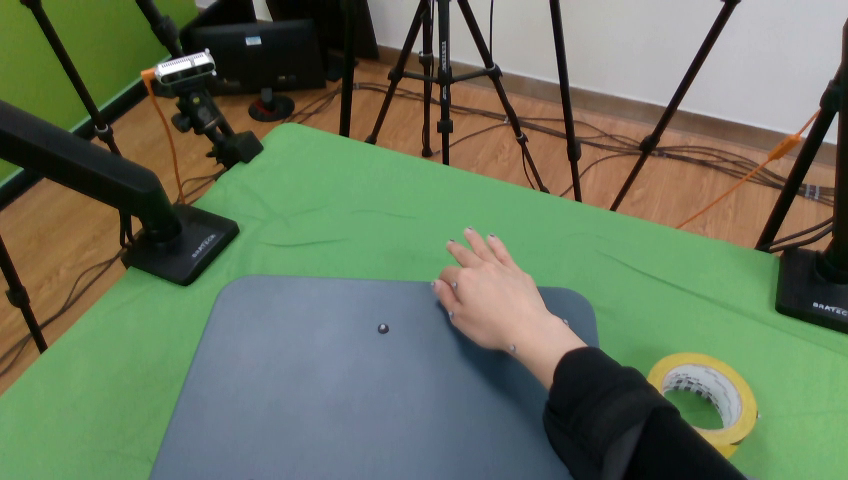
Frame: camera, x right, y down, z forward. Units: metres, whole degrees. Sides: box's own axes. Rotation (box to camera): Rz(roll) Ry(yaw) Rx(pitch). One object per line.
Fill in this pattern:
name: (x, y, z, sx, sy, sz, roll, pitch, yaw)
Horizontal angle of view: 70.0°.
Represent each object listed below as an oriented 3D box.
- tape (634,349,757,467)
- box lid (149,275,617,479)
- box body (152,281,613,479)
tape: (0.288, 0.177, 0.650, 0.117, 0.053, 0.115, 0, 46, 0)
box lid: (-0.027, 0.140, 0.520, 0.371, 0.015, 0.261, 2, 48, 4)
box body: (-0.025, 0.190, 0.576, 0.364, 0.162, 0.251, 1, 48, 4)
